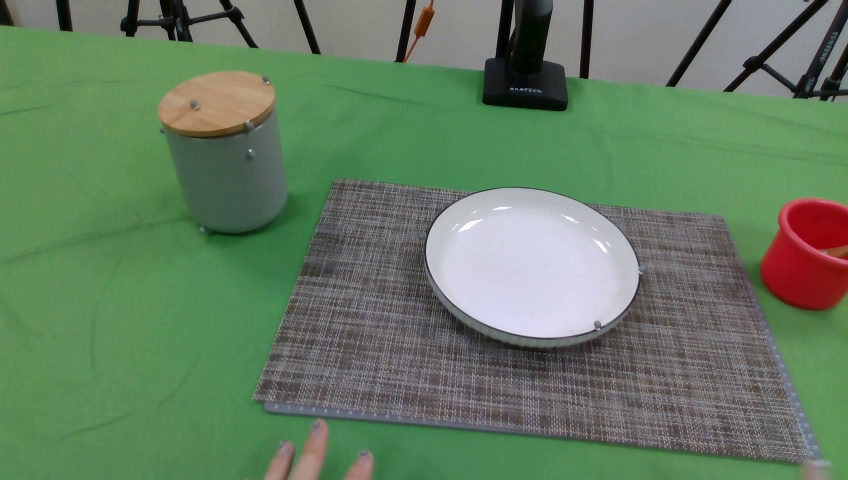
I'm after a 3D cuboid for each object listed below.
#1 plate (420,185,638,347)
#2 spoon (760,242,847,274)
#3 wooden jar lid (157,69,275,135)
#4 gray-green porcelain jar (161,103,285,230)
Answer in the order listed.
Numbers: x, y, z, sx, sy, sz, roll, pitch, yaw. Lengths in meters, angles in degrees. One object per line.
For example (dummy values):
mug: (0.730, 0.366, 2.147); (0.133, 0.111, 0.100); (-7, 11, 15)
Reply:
plate: (0.099, 0.024, 0.593); (0.208, 0.039, 0.205); (2, 44, -2)
spoon: (0.420, 0.003, 0.567); (0.193, 0.022, 0.041); (-21, 22, 45)
wooden jar lid: (-0.196, -0.129, 0.578); (0.108, 0.021, 0.107); (0, 45, 0)
gray-green porcelain jar: (-0.200, -0.082, 0.622); (0.106, 0.127, 0.105); (2, 44, -2)
